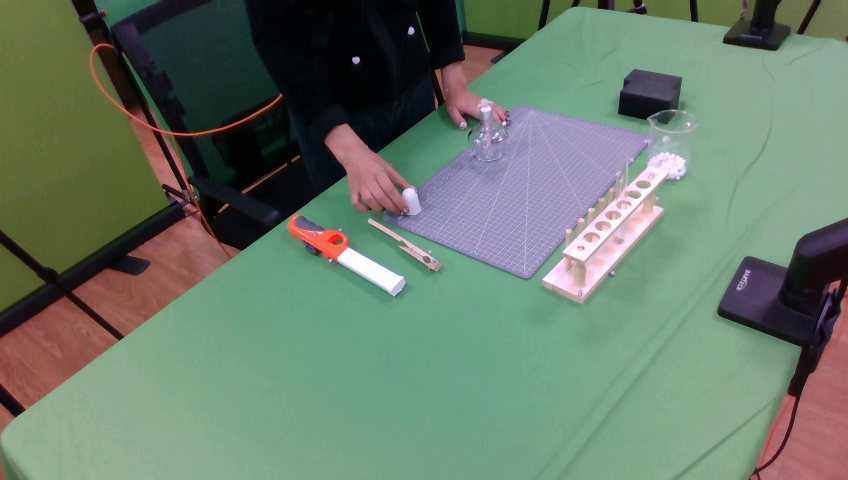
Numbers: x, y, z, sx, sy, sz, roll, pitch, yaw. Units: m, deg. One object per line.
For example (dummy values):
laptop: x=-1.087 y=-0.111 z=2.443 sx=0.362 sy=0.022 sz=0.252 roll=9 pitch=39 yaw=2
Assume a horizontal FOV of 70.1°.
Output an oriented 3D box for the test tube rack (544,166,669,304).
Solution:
test tube rack: x=0.274 y=-0.018 z=0.903 sx=0.066 sy=0.085 sz=0.243 roll=26 pitch=51 yaw=35

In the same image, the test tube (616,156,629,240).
test tube: x=0.284 y=-0.057 z=0.869 sx=0.017 sy=0.151 sz=0.017 roll=-8 pitch=42 yaw=8

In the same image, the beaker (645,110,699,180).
beaker: x=0.417 y=-0.160 z=1.032 sx=0.083 sy=0.101 sz=0.074 roll=25 pitch=51 yaw=35

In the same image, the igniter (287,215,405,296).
igniter: x=-0.137 y=0.019 z=0.980 sx=0.274 sy=0.025 sz=0.057 roll=28 pitch=62 yaw=35

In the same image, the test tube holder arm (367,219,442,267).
test tube holder arm: x=-0.035 y=0.003 z=0.985 sx=0.177 sy=0.015 sz=0.013 roll=32 pitch=89 yaw=40

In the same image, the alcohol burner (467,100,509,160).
alcohol burner: x=0.118 y=-0.210 z=1.130 sx=0.078 sy=0.119 sz=0.077 roll=-5 pitch=42 yaw=5

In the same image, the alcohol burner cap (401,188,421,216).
alcohol burner cap: x=-0.025 y=-0.069 z=1.048 sx=0.034 sy=0.048 sz=0.033 roll=-5 pitch=41 yaw=5

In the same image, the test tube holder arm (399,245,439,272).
test tube holder arm: x=-0.009 y=0.026 z=0.957 sx=0.087 sy=0.015 sz=0.010 roll=35 pitch=91 yaw=40
